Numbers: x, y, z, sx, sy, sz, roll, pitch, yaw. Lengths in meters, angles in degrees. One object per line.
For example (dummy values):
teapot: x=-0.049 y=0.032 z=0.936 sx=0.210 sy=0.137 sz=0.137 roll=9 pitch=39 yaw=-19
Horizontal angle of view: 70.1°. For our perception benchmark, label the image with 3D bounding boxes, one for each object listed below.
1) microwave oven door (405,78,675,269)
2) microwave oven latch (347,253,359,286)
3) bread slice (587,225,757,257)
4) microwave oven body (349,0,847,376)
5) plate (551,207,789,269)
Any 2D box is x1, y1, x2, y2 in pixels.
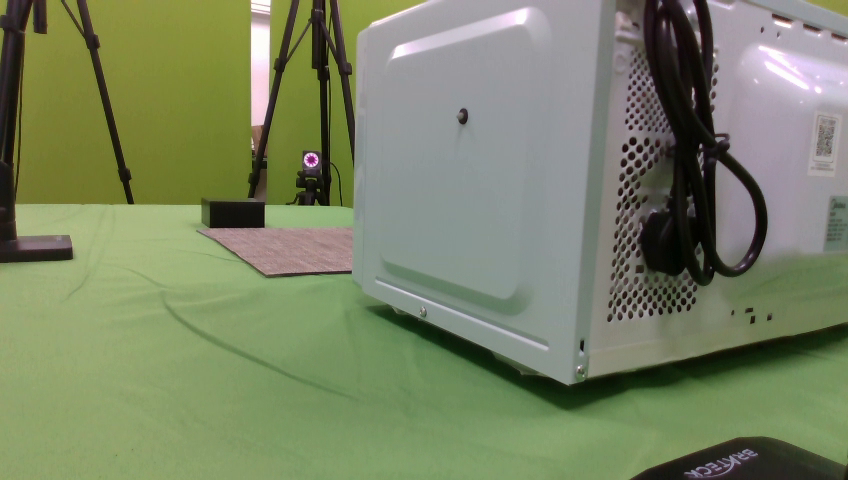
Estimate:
microwave oven door: x=0.146 y=-0.098 z=0.835 sx=0.355 sy=0.243 sz=0.039 roll=5 pitch=8 yaw=21
microwave oven latch: x=-0.034 y=0.028 z=0.581 sx=0.079 sy=0.029 sz=0.030 roll=-1 pitch=7 yaw=-31
bread slice: x=0.225 y=0.000 z=0.570 sx=0.132 sy=0.019 sz=0.104 roll=3 pitch=6 yaw=-23
microwave oven body: x=0.199 y=-0.053 z=0.540 sx=0.444 sy=0.260 sz=0.324 roll=-1 pitch=7 yaw=-32
plate: x=0.224 y=-0.004 z=0.572 sx=0.209 sy=0.038 sz=0.209 roll=3 pitch=7 yaw=0
